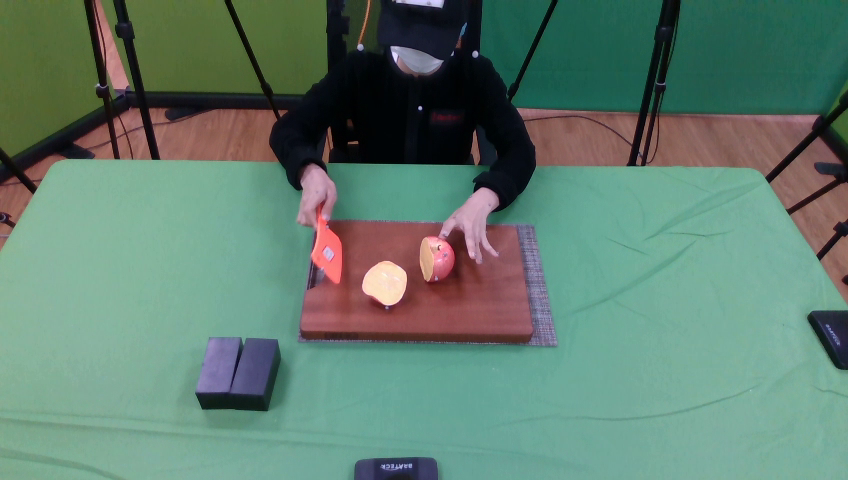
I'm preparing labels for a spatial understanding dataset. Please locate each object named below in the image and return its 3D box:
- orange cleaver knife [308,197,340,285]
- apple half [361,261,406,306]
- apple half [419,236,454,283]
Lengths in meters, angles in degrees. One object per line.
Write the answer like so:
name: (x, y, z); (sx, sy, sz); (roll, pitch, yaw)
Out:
orange cleaver knife: (-0.179, -0.001, 1.095); (0.012, 0.077, 0.210); (-35, 36, 19)
apple half: (-0.067, 0.079, 1.064); (0.081, 0.033, 0.081); (-1, 69, 4)
apple half: (0.025, 0.036, 1.091); (0.053, 0.075, 0.080); (-2, 45, -19)
